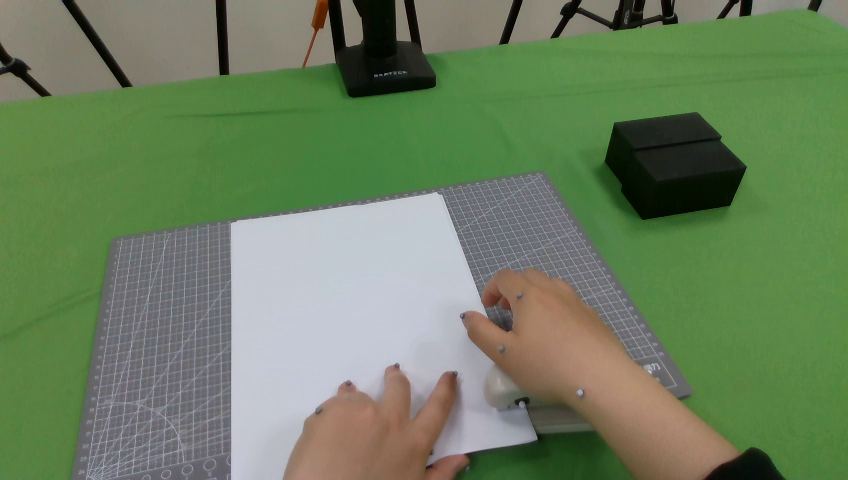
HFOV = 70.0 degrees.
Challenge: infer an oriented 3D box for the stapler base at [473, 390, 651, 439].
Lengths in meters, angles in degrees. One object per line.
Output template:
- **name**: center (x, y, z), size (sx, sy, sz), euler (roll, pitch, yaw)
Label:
- **stapler base**: center (0.102, 0.120, 0.446), size (0.131, 0.024, 0.041), euler (-2, 45, -5)

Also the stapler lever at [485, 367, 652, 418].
- **stapler lever**: center (0.103, 0.108, 0.436), size (0.118, 0.040, 0.026), euler (-9, 45, 2)
